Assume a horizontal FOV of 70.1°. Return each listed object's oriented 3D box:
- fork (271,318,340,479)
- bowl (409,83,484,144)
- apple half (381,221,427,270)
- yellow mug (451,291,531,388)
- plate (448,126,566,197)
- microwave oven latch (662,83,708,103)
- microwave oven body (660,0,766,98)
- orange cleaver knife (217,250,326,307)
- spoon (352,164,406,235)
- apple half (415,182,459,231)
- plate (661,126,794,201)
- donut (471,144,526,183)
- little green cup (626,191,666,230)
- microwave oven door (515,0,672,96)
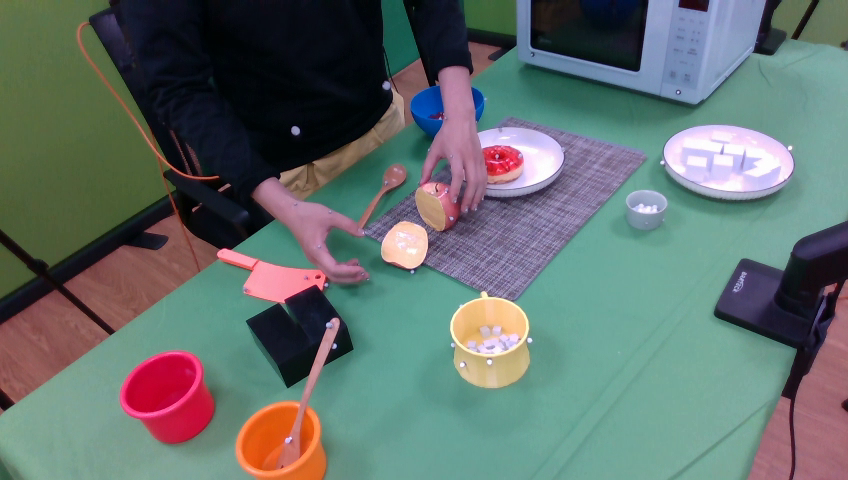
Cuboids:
[{"bbox_3d":[-0.132,0.186,0.676,0.028,0.019,0.207,18,90,28],"label":"fork"},{"bbox_3d":[0.048,-0.245,1.213,0.151,0.077,0.150,-4,40,4],"label":"bowl"},{"bbox_3d":[-0.025,0.012,0.946,0.081,0.033,0.081,-5,73,16],"label":"apple half"},{"bbox_3d":[0.085,0.120,0.786,0.100,0.064,0.130,-7,39,1],"label":"yellow mug"},{"bbox_3d":[0.150,-0.138,1.097,0.209,0.038,0.208,-4,40,4],"label":"plate"},{"bbox_3d":[0.518,-0.296,1.204,0.078,0.029,0.030,27,52,35],"label":"microwave oven latch"},{"bbox_3d":[0.472,-0.514,1.317,0.438,0.261,0.327,26,51,34],"label":"microwave oven body"},{"bbox_3d":[-0.248,0.059,0.945,0.210,0.012,0.077,13,49,20],"label":"orange cleaver knife"},{"bbox_3d":[-0.083,-0.075,1.075,0.041,0.021,0.194,23,46,8],"label":"spoon"},{"bbox_3d":[0.029,-0.059,0.995,0.053,0.075,0.080,-30,42,-29],"label":"apple half"},{"bbox_3d":[0.513,-0.127,1.035,0.207,0.039,0.206,-4,40,4],"label":"plate"},{"bbox_3d":[0.133,-0.139,1.083,0.099,0.048,0.098,-5,38,5],"label":"donut"},{"bbox_3d":[0.352,-0.046,0.963,0.061,0.039,0.061,-4,40,4],"label":"little green cup"},{"bbox_3d":[0.343,-0.455,1.259,0.353,0.245,0.039,26,51,33],"label":"microwave oven door"}]
